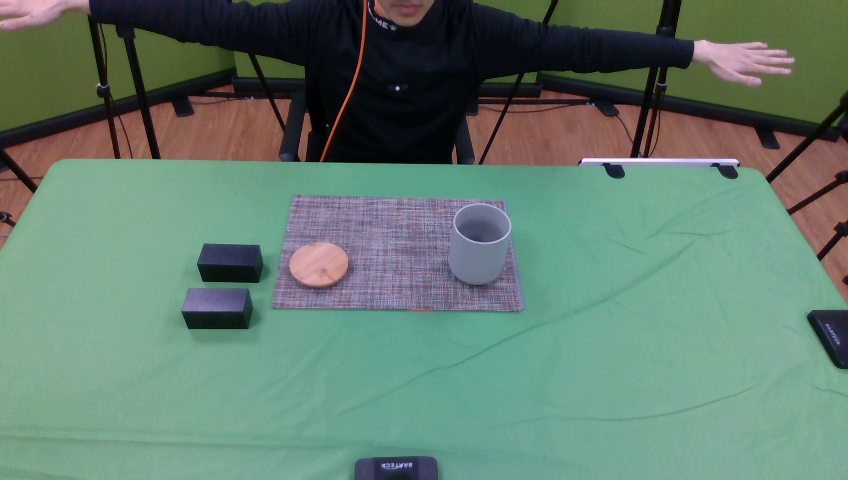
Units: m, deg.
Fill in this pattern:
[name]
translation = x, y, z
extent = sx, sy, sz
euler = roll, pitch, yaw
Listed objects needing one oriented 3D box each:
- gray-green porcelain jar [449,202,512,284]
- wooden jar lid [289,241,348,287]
[gray-green porcelain jar]
translation = 0.100, 0.010, 1.116
extent = 0.106, 0.127, 0.105
euler = 2, 47, -2
[wooden jar lid]
translation = -0.196, 0.047, 1.133
extent = 0.108, 0.021, 0.107
euler = 3, 45, -2
